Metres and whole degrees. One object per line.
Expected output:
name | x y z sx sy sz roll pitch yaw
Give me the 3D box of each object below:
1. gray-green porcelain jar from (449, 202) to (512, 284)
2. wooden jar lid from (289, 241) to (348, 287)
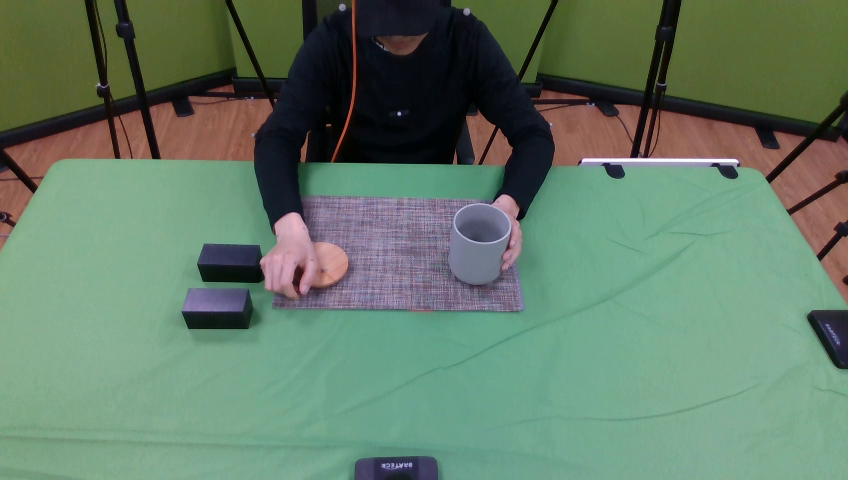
gray-green porcelain jar | 0.100 0.011 1.116 0.106 0.127 0.105 2 47 -2
wooden jar lid | -0.196 0.047 1.133 0.108 0.021 0.107 3 45 -2
